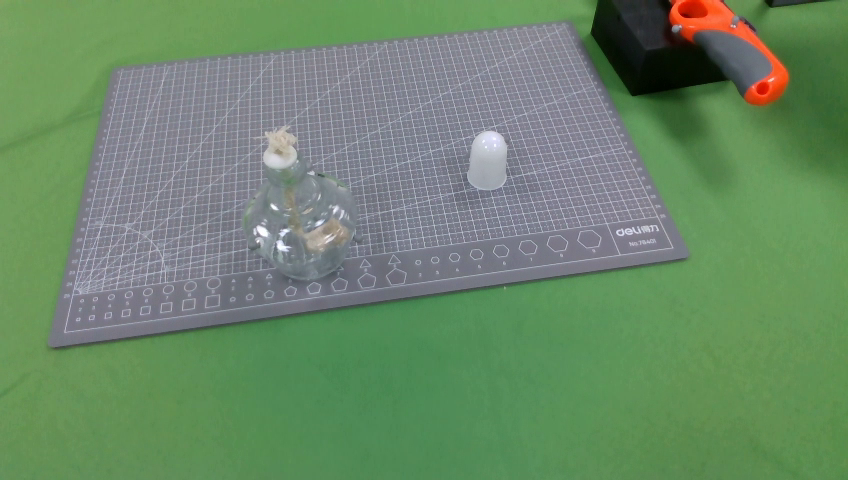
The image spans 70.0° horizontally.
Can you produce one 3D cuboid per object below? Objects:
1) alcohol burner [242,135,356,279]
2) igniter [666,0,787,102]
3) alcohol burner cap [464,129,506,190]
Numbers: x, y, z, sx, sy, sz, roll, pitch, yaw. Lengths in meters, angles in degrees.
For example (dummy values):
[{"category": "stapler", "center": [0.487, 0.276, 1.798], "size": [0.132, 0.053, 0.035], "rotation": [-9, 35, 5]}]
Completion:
[{"category": "alcohol burner", "center": [-0.086, -0.026, 0.402], "size": [0.078, 0.120, 0.077], "rotation": [-1, 55, 1]}, {"category": "igniter", "center": [0.232, -0.212, 0.533], "size": [0.057, 0.025, 0.273], "rotation": [-12, 52, -5]}, {"category": "alcohol burner cap", "center": [0.049, -0.066, 0.474], "size": [0.034, 0.048, 0.033], "rotation": [1, 53, 0]}]
